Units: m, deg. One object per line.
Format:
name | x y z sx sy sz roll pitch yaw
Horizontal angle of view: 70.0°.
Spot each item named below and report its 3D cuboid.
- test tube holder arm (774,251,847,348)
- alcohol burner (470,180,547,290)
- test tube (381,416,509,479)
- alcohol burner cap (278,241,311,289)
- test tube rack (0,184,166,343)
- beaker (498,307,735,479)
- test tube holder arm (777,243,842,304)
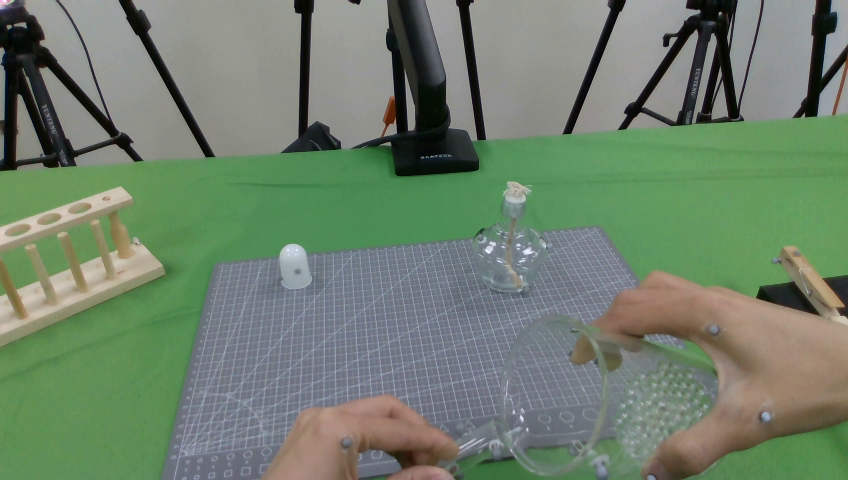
test tube holder arm | 0.343 0.061 0.510 0.015 0.013 0.177 0 35 1
alcohol burner | 0.087 -0.009 0.613 0.078 0.120 0.077 1 35 0
test tube | -0.017 0.138 0.334 0.150 0.017 0.017 -36 30 18
alcohol burner cap | -0.138 0.023 0.635 0.034 0.048 0.033 -1 35 1
test tube rack | -0.394 0.034 0.593 0.242 0.086 0.066 -28 43 -33
beaker | 0.098 0.084 0.309 0.101 0.084 0.073 15 43 -26
test tube holder arm | 0.344 0.031 0.543 0.015 0.010 0.087 0 35 1
